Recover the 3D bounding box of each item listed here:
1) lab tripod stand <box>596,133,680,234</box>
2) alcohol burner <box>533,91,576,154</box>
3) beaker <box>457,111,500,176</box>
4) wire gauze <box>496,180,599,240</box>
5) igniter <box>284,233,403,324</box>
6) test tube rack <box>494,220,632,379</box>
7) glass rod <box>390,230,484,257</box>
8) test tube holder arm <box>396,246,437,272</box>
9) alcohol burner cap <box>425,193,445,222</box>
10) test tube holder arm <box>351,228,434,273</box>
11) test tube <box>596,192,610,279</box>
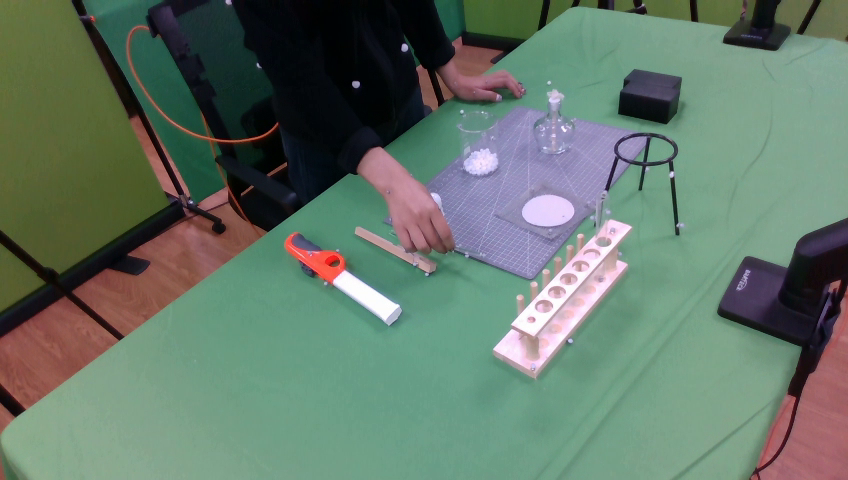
[{"bbox_3d":[0.338,-0.090,0.940,0.148,0.132,0.147,-7,39,6],"label":"lab tripod stand"},{"bbox_3d":[0.243,-0.222,1.124,0.078,0.119,0.077,-4,39,4],"label":"alcohol burner"},{"bbox_3d":[0.104,-0.176,1.108,0.073,0.101,0.084,16,46,27],"label":"beaker"},{"bbox_3d":[0.206,-0.050,1.012,0.125,0.011,0.120,-34,45,-26],"label":"wire gauze"},{"bbox_3d":[-0.136,0.054,0.942,0.274,0.025,0.057,29,63,37],"label":"igniter"},{"bbox_3d":[0.191,0.068,0.818,0.066,0.085,0.243,25,51,35],"label":"test tube rack"},{"bbox_3d":[0.016,0.005,0.966,0.198,0.008,0.008,14,45,41],"label":"glass rod"},{"bbox_3d":[-0.016,0.030,0.958,0.087,0.015,0.010,24,14,34],"label":"test tube holder arm"},{"bbox_3d":[0.017,-0.058,1.029,0.034,0.048,0.033,-6,40,6],"label":"alcohol burner cap"},{"bbox_3d":[-0.054,0.014,0.978,0.177,0.015,0.013,24,14,33],"label":"test tube holder arm"},{"bbox_3d":[0.240,-0.002,0.814,0.017,0.151,0.017,-7,42,7],"label":"test tube"}]
